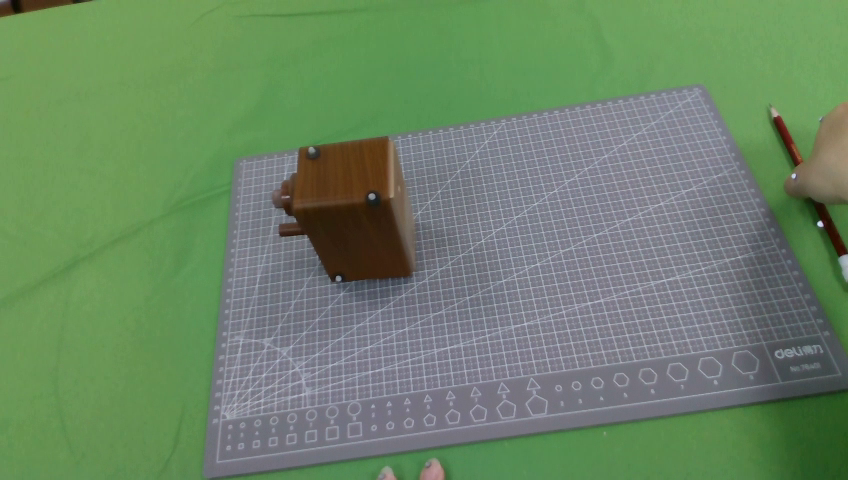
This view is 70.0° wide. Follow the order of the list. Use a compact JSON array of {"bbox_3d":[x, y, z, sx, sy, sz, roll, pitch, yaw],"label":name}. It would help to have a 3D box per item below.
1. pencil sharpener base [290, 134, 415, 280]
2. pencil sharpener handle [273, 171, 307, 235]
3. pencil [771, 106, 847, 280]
[{"bbox_3d":[-0.051,-0.021,0.463,0.076,0.108,0.061,-6,56,5],"label":"pencil sharpener base"},{"bbox_3d":[-0.104,-0.024,0.458,0.030,0.068,0.035,-6,60,5],"label":"pencil sharpener handle"},{"bbox_3d":[0.314,-0.042,0.489,0.012,0.012,0.192,-5,55,6],"label":"pencil"}]
